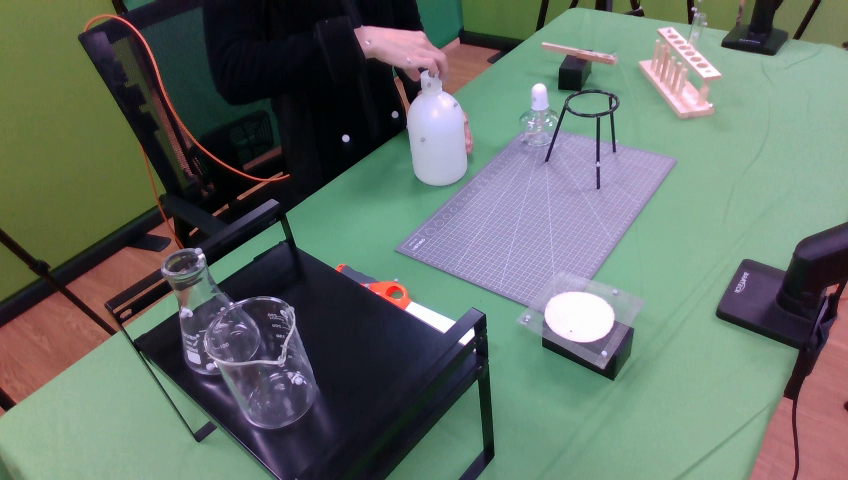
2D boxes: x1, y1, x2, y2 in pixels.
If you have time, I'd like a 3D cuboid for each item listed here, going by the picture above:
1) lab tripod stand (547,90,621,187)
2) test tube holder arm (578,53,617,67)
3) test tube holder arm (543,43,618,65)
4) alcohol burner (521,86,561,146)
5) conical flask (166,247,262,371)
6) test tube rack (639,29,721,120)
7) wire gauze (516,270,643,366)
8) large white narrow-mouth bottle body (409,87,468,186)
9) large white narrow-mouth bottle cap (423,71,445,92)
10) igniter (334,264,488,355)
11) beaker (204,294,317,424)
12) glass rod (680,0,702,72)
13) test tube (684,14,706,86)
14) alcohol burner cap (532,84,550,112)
[{"bbox_3d":[0.289,-0.184,1.062,0.148,0.132,0.147,-6,41,6],"label":"lab tripod stand"},{"bbox_3d":[0.376,-0.393,1.314,0.087,0.015,0.010,26,51,32],"label":"test tube holder arm"},{"bbox_3d":[0.344,-0.413,1.340,0.177,0.015,0.013,25,51,31],"label":"test tube holder arm"},{"bbox_3d":[0.223,-0.241,1.155,0.078,0.119,0.077,-5,43,5],"label":"alcohol burner"},{"bbox_3d":[-0.209,0.064,0.584,0.075,0.122,0.075,-5,40,4],"label":"conical flask"},{"bbox_3d":[0.527,-0.351,1.262,0.067,0.085,0.241,-8,40,1],"label":"test tube rack"},{"bbox_3d":[0.200,0.093,0.777,0.124,0.011,0.122,23,49,32],"label":"wire gauze"},{"bbox_3d":[0.024,-0.201,1.082,0.102,0.195,0.101,-4,40,4],"label":"large white narrow-mouth bottle body"},{"bbox_3d":[0.016,-0.269,1.023,0.038,0.024,0.037,-4,40,4],"label":"large white narrow-mouth bottle cap"},{"bbox_3d":[-0.030,0.095,0.871,0.274,0.025,0.057,22,59,31],"label":"igniter"},{"bbox_3d":[-0.137,0.110,0.536,0.083,0.101,0.074,30,53,35],"label":"beaker"},{"bbox_3d":[0.543,-0.417,1.233,0.008,0.200,0.008,1,40,0],"label":"glass rod"},{"bbox_3d":[0.540,-0.378,1.215,0.017,0.151,0.017,-2,44,3],"label":"test tube"},{"bbox_3d":[0.218,-0.269,1.133,0.034,0.048,0.033,-8,36,7],"label":"alcohol burner cap"}]
